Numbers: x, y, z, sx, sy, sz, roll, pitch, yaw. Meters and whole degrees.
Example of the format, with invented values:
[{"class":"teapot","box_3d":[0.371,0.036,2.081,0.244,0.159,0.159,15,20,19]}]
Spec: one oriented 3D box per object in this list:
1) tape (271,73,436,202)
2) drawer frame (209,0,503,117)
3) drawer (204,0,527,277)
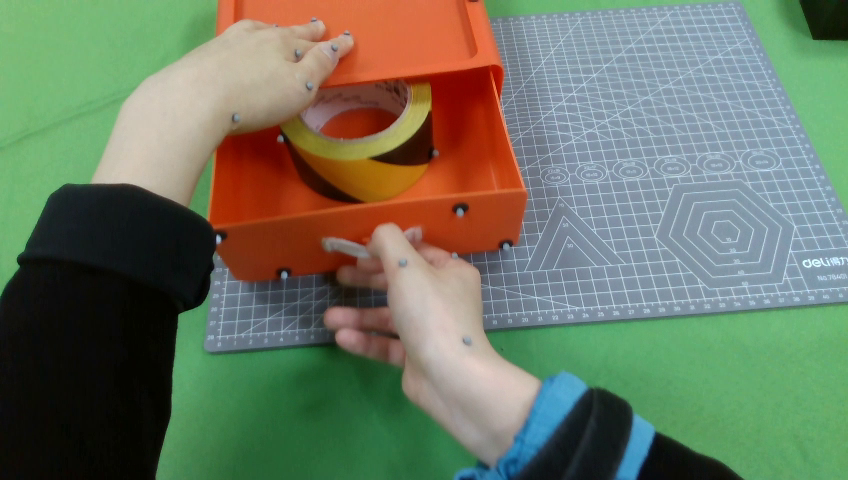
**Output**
[{"class":"tape","box_3d":[-0.048,-0.088,0.443,0.117,0.053,0.116,0,61,1]},{"class":"drawer frame","box_3d":[-0.058,-0.174,0.485,0.202,0.083,0.211,-9,59,-3]},{"class":"drawer","box_3d":[-0.045,-0.088,0.434,0.194,0.074,0.209,-7,60,-2]}]
